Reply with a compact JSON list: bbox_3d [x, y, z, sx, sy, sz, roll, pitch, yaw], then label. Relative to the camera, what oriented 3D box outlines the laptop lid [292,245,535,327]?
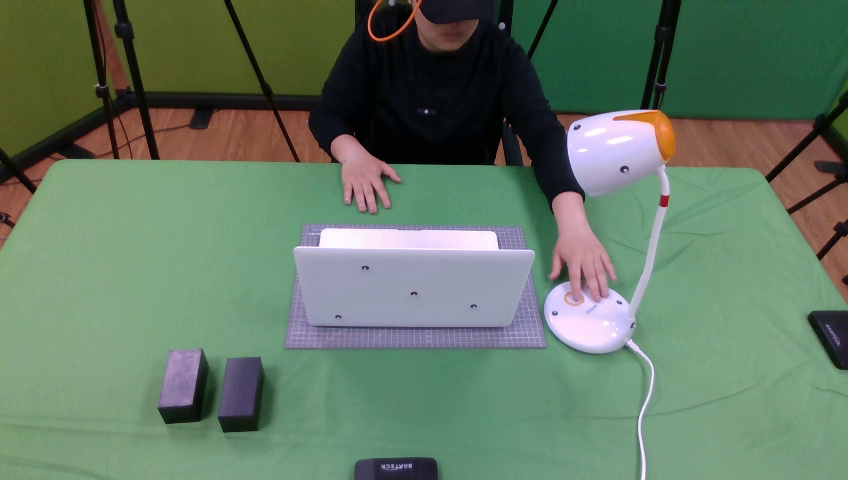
[{"bbox_3d":[-0.018,0.080,0.956,0.357,0.243,0.013,2,54,-5],"label":"laptop lid"}]

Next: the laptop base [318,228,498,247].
[{"bbox_3d":[-0.027,0.066,1.134,0.355,0.023,0.234,1,43,-4],"label":"laptop base"}]

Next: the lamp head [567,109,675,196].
[{"bbox_3d":[0.272,-0.123,0.818,0.122,0.113,0.112,-9,35,37],"label":"lamp head"}]

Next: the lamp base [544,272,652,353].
[{"bbox_3d":[0.310,0.086,1.029,0.178,0.181,0.160,32,52,21],"label":"lamp base"}]
